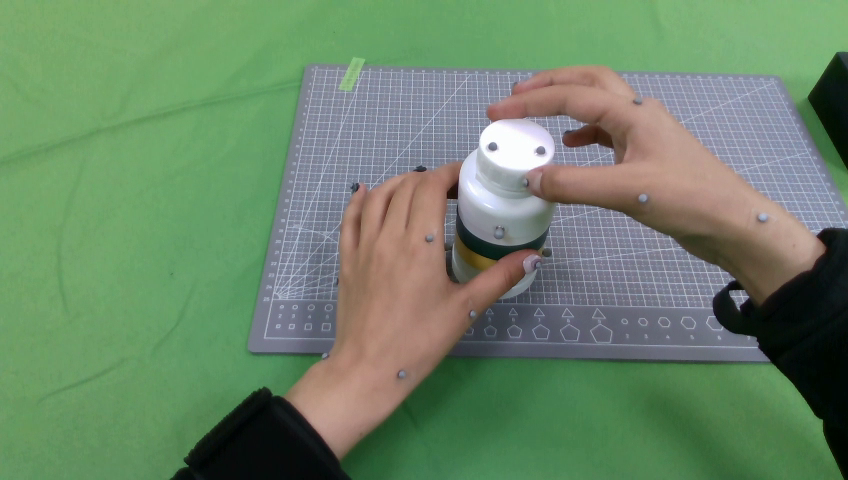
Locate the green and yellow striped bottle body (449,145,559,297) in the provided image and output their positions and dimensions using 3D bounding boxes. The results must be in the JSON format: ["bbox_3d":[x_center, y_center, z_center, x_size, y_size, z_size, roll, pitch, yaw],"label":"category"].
[{"bbox_3d":[0.050,-0.019,0.393,0.063,0.120,0.062,1,54,0],"label":"green and yellow striped bottle body"}]

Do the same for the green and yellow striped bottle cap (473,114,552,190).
[{"bbox_3d":[0.051,-0.051,0.349,0.045,0.020,0.045,1,55,-1],"label":"green and yellow striped bottle cap"}]
